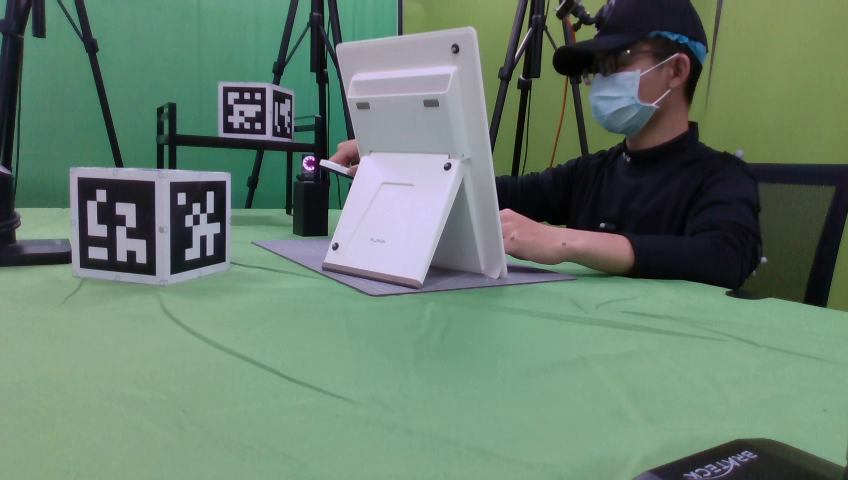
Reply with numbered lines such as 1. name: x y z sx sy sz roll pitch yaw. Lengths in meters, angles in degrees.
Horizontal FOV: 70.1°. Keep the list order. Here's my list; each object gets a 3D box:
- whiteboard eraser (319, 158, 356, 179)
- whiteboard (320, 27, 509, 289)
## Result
1. whiteboard eraser: -0.153 -0.133 1.147 0.102 0.019 0.041 18 1 -38
2. whiteboard: -0.045 -0.076 0.721 0.216 0.305 0.144 9 29 38
